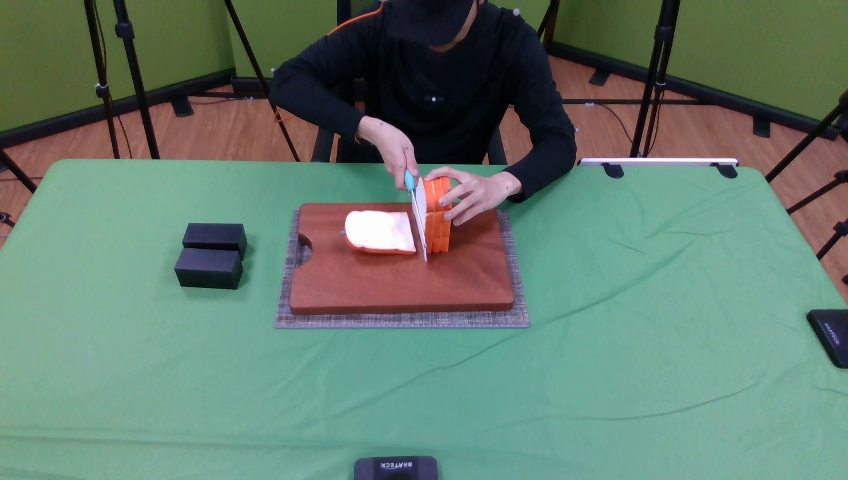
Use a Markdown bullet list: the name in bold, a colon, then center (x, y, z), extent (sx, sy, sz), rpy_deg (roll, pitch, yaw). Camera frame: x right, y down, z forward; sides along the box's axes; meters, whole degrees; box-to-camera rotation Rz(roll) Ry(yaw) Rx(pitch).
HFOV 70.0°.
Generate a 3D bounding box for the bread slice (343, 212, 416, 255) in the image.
- **bread slice**: center (-0.088, -0.015, 1.151), extent (0.132, 0.019, 0.104), rpy_deg (2, 45, -18)

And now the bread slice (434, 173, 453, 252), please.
- **bread slice**: center (0.036, -0.056, 1.138), extent (0.018, 0.135, 0.106), rpy_deg (-4, 48, -7)

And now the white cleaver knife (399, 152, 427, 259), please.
- **white cleaver knife**: center (-0.022, -0.074, 1.194), extent (0.021, 0.066, 0.284), rpy_deg (-7, 45, -5)
